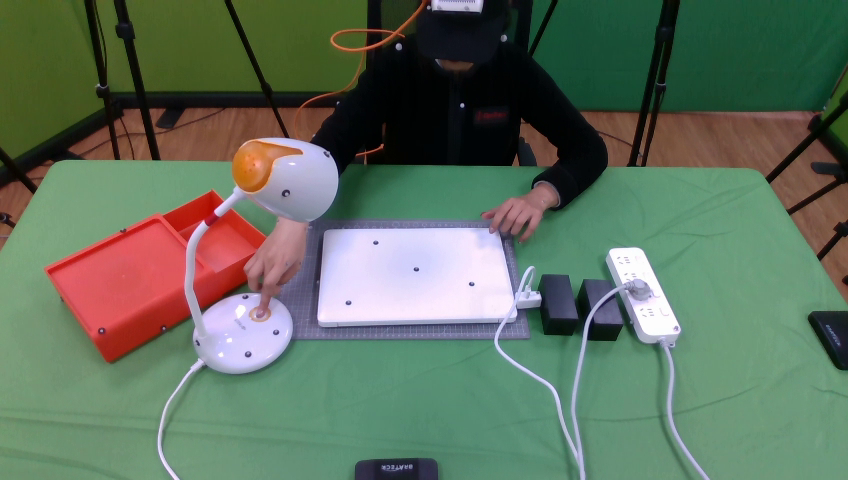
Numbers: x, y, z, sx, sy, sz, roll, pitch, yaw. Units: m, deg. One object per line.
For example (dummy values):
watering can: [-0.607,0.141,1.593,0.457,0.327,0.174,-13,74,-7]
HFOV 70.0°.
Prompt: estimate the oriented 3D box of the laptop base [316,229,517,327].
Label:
laptop base: [-0.017,0.066,1.132,0.355,0.023,0.234,-1,42,-5]

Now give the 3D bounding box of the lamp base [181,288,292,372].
lamp base: [-0.309,0.108,0.959,0.160,0.181,0.179,29,55,22]

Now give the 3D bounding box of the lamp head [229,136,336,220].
lamp head: [-0.196,-0.085,0.791,0.112,0.112,0.123,36,15,27]

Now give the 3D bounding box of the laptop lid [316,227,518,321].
laptop lid: [-0.016,0.057,1.126,0.357,0.013,0.240,0,43,-4]

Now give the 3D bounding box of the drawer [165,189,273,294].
drawer: [-0.419,0.021,1.108,0.193,0.073,0.211,37,55,27]

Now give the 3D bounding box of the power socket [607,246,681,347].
power socket: [0.403,0.096,1.123,0.072,0.033,0.225,-3,46,-5]

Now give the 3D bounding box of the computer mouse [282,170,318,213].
computer mouse: [-0.259,-0.106,1.272,0.063,0.041,0.116,3,49,-3]

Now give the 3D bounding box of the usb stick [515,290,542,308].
usb stick: [0.181,0.107,1.089,0.059,0.027,0.021,-6,47,-4]

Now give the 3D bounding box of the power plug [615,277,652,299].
power plug: [0.375,0.088,1.097,0.072,0.053,0.035,5,46,2]

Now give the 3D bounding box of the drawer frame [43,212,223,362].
drawer frame: [-0.497,0.073,1.049,0.213,0.083,0.200,-34,57,-31]

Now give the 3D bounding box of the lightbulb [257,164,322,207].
lightbulb: [-0.181,-0.077,0.810,0.059,0.059,0.108,36,12,27]
